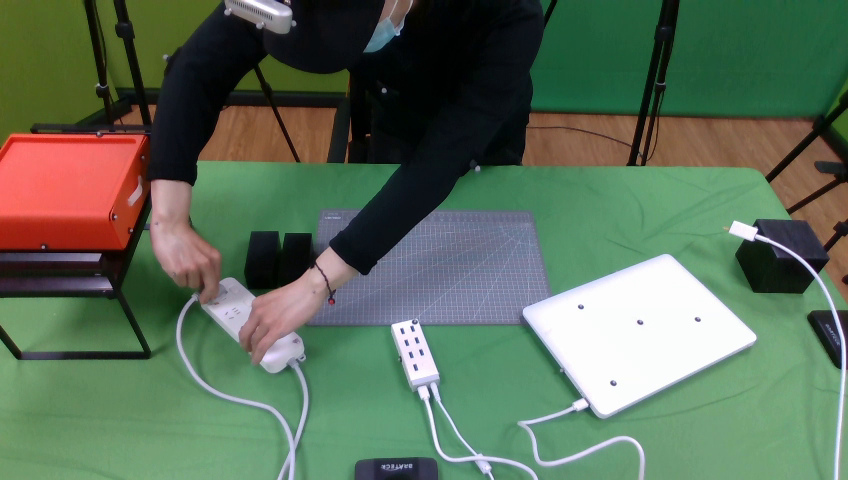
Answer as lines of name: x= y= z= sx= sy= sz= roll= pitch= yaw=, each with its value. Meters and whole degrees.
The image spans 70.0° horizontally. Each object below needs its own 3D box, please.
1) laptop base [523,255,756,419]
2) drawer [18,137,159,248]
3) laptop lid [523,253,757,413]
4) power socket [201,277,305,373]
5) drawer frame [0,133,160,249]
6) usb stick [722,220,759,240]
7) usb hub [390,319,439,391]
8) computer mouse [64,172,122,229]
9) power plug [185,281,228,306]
laptop base: x=0.381 y=0.157 z=1.081 sx=0.355 sy=0.023 sz=0.234 roll=-18 pitch=48 yaw=-21
drawer: x=-0.549 y=-0.079 z=0.944 sx=0.212 sy=0.073 sz=0.193 roll=0 pitch=47 yaw=-3
laptop lid: x=0.380 y=0.147 z=1.073 sx=0.357 sy=0.013 sz=0.240 roll=-17 pitch=48 yaw=-19
power socket: x=-0.295 y=0.142 z=1.034 sx=0.225 sy=0.033 sz=0.072 roll=35 pitch=54 yaw=26
drawer frame: x=-0.552 y=-0.078 z=0.942 sx=0.214 sy=0.083 sz=0.200 roll=-1 pitch=47 yaw=-4
usb stick: x=0.593 y=-0.021 z=1.139 sx=0.059 sy=0.027 sz=0.021 roll=22 pitch=12 yaw=28
usb hub: x=-0.016 y=0.190 z=1.013 sx=0.049 sy=0.025 sz=0.124 roll=-10 pitch=48 yaw=-15
computer mouse: x=-0.521 y=-0.067 z=0.955 sx=0.063 sy=0.041 sz=0.116 roll=1 pitch=48 yaw=-9
power plug: x=-0.371 y=0.097 z=1.031 sx=0.072 sy=0.053 sz=0.035 roll=-29 pitch=51 yaw=-22
